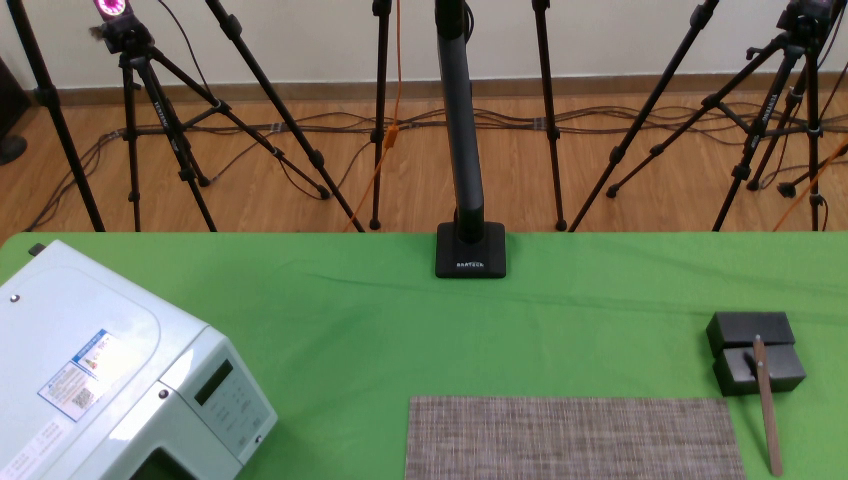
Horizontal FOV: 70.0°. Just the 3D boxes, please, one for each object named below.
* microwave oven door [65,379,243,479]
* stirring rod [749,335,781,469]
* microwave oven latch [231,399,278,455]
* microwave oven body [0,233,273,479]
[{"bbox_3d":[-0.358,0.344,0.651,0.039,0.246,0.354,23,57,21],"label":"microwave oven door"},{"bbox_3d":[0.459,0.216,0.816,0.014,0.006,0.175,-5,76,14],"label":"stirring rod"},{"bbox_3d":[-0.238,0.255,0.841,0.030,0.030,0.079,25,59,21],"label":"microwave oven latch"},{"bbox_3d":[-0.461,0.265,0.727,0.324,0.262,0.440,24,58,20],"label":"microwave oven body"}]
